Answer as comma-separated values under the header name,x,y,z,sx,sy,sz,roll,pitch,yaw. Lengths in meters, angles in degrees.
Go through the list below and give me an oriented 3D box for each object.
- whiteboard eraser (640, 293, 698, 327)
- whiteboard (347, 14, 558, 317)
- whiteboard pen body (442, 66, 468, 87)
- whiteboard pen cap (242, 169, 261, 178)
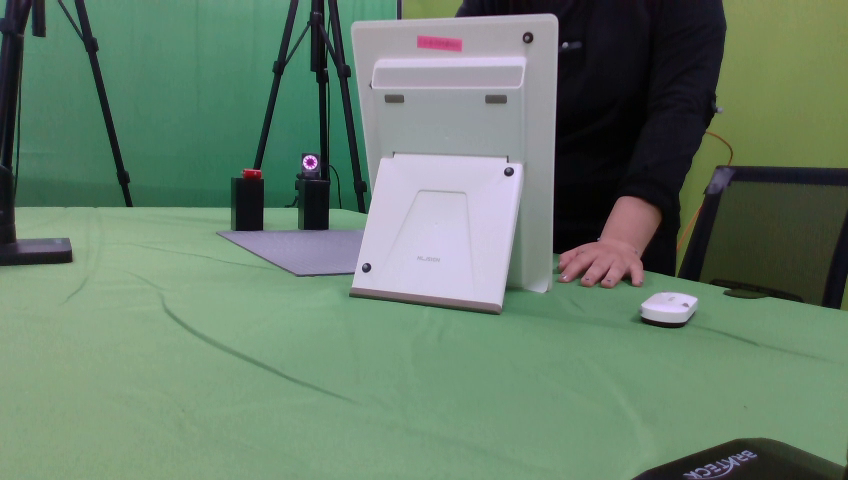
name,x,y,z,sx,sy,sz,roll,pitch,yaw
whiteboard eraser,0.240,0.067,0.590,0.041,0.019,0.102,6,7,32
whiteboard,0.012,-0.055,0.608,0.216,0.305,0.144,6,28,20
whiteboard pen body,0.035,-0.187,0.693,0.017,0.017,0.140,4,20,10
whiteboard pen cap,-0.326,-0.125,1.144,0.032,0.017,0.017,0,7,-37
